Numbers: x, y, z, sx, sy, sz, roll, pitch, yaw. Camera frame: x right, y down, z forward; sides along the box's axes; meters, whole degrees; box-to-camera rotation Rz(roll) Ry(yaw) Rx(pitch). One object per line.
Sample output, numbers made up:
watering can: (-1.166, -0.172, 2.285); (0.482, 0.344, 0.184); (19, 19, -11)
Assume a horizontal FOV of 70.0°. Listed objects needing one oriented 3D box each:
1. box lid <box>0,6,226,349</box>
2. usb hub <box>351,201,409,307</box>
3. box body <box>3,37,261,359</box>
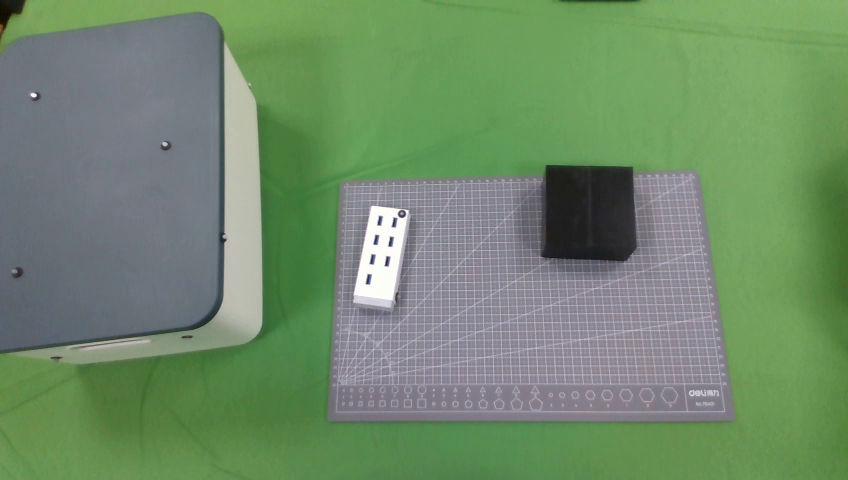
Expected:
box lid: (-0.338, -0.077, 0.634); (0.263, 0.015, 0.369); (-7, 71, 2)
usb hub: (-0.052, 0.016, 0.732); (0.049, 0.025, 0.124); (8, 73, 6)
box body: (-0.333, -0.054, 0.705); (0.254, 0.161, 0.361); (-7, 72, 1)
